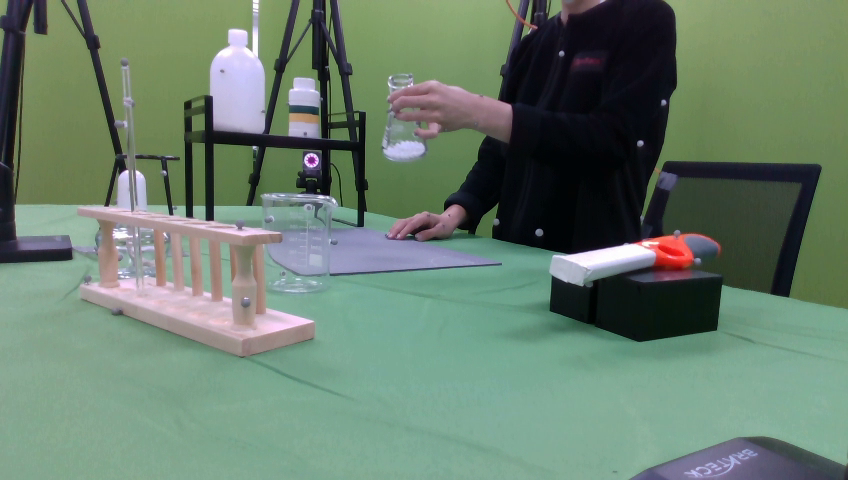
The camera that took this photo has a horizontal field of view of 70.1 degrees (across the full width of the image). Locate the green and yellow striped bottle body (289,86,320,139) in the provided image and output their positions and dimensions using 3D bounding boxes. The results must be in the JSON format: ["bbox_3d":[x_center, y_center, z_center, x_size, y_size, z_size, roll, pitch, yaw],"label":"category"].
[{"bbox_3d":[-0.250,-0.272,1.261,0.063,0.119,0.063,3,7,0],"label":"green and yellow striped bottle body"}]

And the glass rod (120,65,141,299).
[{"bbox_3d":[-0.249,-0.047,0.513,0.008,0.199,0.008,-1,4,0],"label":"glass rod"}]

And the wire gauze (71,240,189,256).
[{"bbox_3d":[-0.399,0.013,0.820,0.126,0.011,0.121,-3,8,-37],"label":"wire gauze"}]

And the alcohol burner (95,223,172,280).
[{"bbox_3d":[-0.320,-0.017,0.667,0.078,0.119,0.078,0,7,0],"label":"alcohol burner"}]

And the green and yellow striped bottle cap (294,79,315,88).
[{"bbox_3d":[-0.248,-0.323,1.256,0.045,0.020,0.045,3,9,0],"label":"green and yellow striped bottle cap"}]

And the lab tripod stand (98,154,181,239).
[{"bbox_3d":[-0.427,-0.066,0.942,0.148,0.131,0.148,1,6,0],"label":"lab tripod stand"}]

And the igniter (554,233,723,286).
[{"bbox_3d":[0.214,0.015,0.570,0.278,0.025,0.057,-5,22,-44],"label":"igniter"}]

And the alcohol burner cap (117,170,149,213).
[{"bbox_3d":[-0.320,-0.052,0.661,0.034,0.048,0.034,-3,0,0],"label":"alcohol burner cap"}]

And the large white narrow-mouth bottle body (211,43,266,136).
[{"bbox_3d":[-0.361,-0.302,1.176,0.102,0.194,0.102,1,7,0],"label":"large white narrow-mouth bottle body"}]

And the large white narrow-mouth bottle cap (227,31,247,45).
[{"bbox_3d":[-0.361,-0.388,1.165,0.038,0.024,0.037,1,7,0],"label":"large white narrow-mouth bottle cap"}]

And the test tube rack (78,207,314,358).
[{"bbox_3d":[-0.196,0.024,0.500,0.241,0.085,0.067,8,8,37],"label":"test tube rack"}]

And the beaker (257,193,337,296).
[{"bbox_3d":[-0.130,0.003,0.628,0.084,0.100,0.074,5,8,15],"label":"beaker"}]

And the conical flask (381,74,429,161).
[{"bbox_3d":[-0.032,-0.188,0.922,0.075,0.122,0.075,-2,33,2],"label":"conical flask"}]
